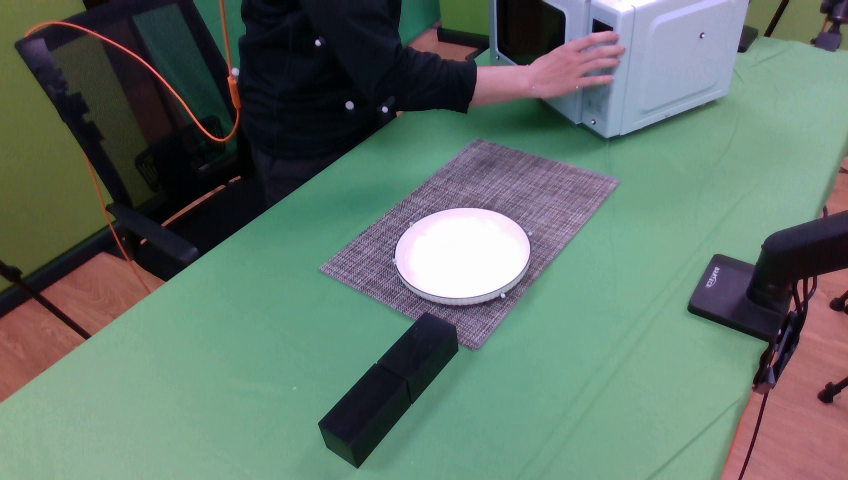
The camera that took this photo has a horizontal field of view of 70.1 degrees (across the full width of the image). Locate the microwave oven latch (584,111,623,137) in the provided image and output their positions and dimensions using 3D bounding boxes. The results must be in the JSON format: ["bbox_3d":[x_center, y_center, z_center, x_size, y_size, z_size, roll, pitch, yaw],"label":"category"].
[{"bbox_3d":[0.337,-0.222,1.142,0.030,0.029,0.078,-21,42,-14],"label":"microwave oven latch"}]

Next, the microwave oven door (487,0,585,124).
[{"bbox_3d":[0.226,-0.418,1.229,0.039,0.245,0.352,-20,42,-15],"label":"microwave oven door"}]

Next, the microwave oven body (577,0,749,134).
[{"bbox_3d":[0.382,-0.444,1.246,0.327,0.261,0.437,-22,42,-16],"label":"microwave oven body"}]

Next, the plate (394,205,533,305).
[{"bbox_3d":[0.060,0.025,0.915,0.207,0.039,0.206,-4,41,4],"label":"plate"}]
